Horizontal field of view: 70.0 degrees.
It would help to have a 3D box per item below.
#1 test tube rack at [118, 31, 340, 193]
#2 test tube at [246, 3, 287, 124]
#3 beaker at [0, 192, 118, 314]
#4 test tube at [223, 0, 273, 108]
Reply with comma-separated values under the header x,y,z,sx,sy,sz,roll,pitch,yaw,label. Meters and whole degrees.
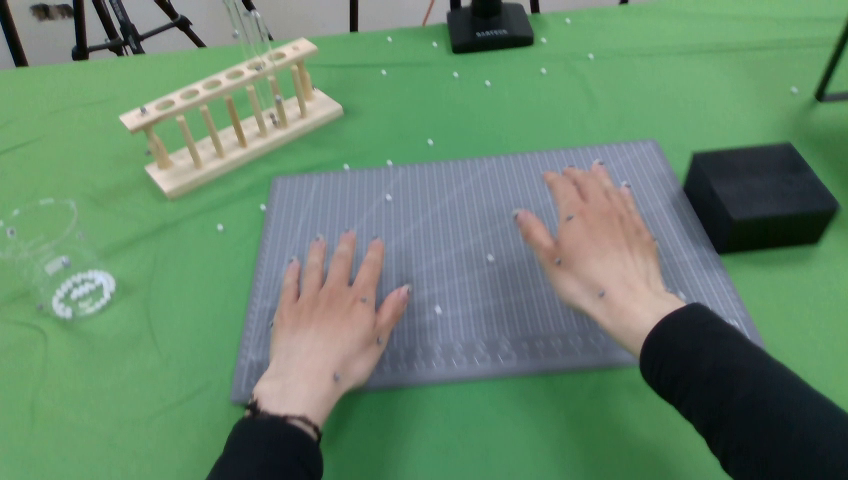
x,y,z,sx,sy,sz,roll,pitch,yaw,label
-0.226,-0.160,0.735,0.242,0.086,0.066,-33,52,-24,test tube rack
-0.184,-0.203,0.710,0.017,0.152,0.017,-2,45,2,test tube
-0.342,0.014,0.573,0.073,0.101,0.083,15,49,18,beaker
-0.210,-0.225,0.728,0.017,0.152,0.017,-5,44,5,test tube
